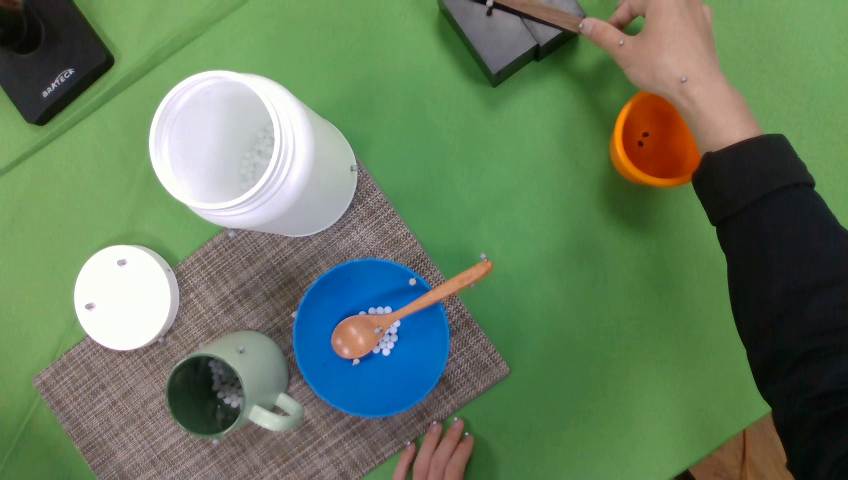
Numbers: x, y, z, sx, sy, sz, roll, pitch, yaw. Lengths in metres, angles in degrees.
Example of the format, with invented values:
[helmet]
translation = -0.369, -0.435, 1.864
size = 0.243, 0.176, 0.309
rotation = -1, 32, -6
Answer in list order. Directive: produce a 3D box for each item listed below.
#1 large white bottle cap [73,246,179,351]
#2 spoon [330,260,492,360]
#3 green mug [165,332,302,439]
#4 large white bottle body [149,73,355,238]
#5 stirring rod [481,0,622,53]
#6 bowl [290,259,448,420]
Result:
[large white bottle cap]
translation = -0.325, 0.064, 0.660
size = 0.115, 0.018, 0.114
rotation = 0, 90, 7
[spoon]
translation = -0.016, 0.066, 0.567
size = 0.193, 0.021, 0.041
rotation = -30, 90, 30
[green mug]
translation = -0.179, 0.151, 0.602
size = 0.125, 0.105, 0.092
rotation = 27, 93, 5
[large white bottle body]
translation = -0.148, -0.071, 0.554
size = 0.130, 0.185, 0.130
rotation = 0, 87, 9
[stirring rod]
translation = 0.101, -0.212, 0.564
size = 0.176, 0.006, 0.014
rotation = 22, 98, 1
[bowl]
translation = -0.047, 0.092, 0.600
size = 0.151, 0.077, 0.151
rotation = 0, 91, 7
